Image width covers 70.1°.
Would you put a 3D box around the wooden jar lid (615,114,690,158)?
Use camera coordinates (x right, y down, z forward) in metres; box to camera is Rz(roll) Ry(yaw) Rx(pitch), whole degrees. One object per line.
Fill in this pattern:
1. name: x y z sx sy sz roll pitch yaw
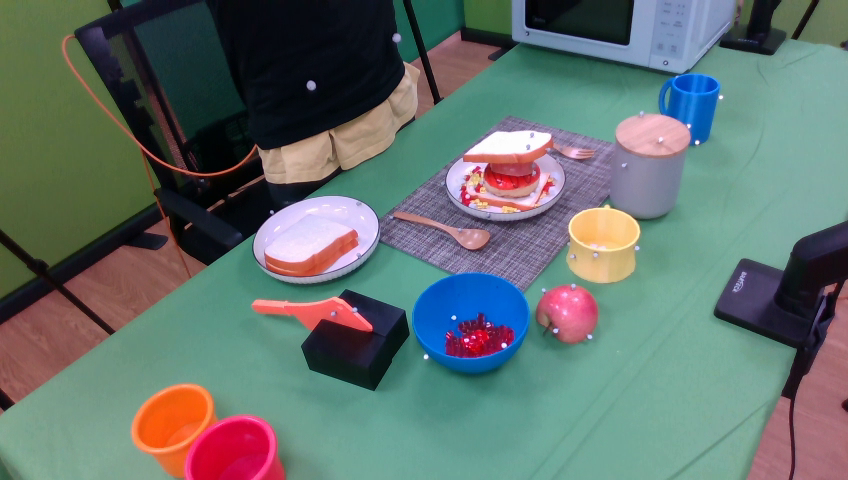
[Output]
1. wooden jar lid: 0.347 -0.155 0.923 0.108 0.021 0.108 -3 44 4

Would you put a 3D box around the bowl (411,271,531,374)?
1. bowl: 0.062 0.119 0.780 0.151 0.077 0.150 -4 40 4

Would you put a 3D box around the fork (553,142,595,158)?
1. fork: 0.225 -0.186 1.151 0.206 0.019 0.028 21 59 27

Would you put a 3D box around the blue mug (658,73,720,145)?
1. blue mug: 0.483 -0.250 1.127 0.082 0.106 0.115 -25 44 -19

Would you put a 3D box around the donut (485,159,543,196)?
1. donut: 0.151 -0.112 1.018 0.099 0.048 0.098 -4 40 4

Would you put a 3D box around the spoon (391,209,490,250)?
1. spoon: 0.023 -0.024 0.989 0.192 0.022 0.041 21 72 28

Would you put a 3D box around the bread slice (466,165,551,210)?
1. bread slice: 0.141 -0.093 1.041 0.133 0.018 0.107 8 42 20

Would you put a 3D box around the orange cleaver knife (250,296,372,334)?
1. orange cleaver knife: -0.159 0.103 0.828 0.210 0.078 0.012 -3 43 39

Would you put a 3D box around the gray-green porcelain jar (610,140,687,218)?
1. gray-green porcelain jar: 0.354 -0.107 0.964 0.106 0.127 0.105 -4 41 4

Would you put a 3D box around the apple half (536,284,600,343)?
1. apple half: 0.196 0.090 0.815 0.075 0.053 0.080 -22 42 -20

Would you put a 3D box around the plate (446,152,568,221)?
1. plate: 0.143 -0.097 1.045 0.207 0.039 0.206 -4 41 4

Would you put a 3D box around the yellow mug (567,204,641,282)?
1. yellow mug: 0.268 -0.005 0.905 0.099 0.064 0.130 7 42 15

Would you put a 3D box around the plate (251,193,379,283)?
1. plate: -0.174 -0.001 0.985 0.209 0.038 0.208 -4 41 4

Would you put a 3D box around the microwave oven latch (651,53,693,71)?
1. microwave oven latch: 0.532 -0.386 1.301 0.078 0.029 0.030 27 52 34

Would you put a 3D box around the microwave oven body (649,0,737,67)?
1. microwave oven body: 0.475 -0.602 1.411 0.438 0.261 0.327 23 50 32

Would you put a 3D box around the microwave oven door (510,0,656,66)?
1. microwave oven door: 0.350 -0.539 1.348 0.353 0.245 0.039 24 50 31

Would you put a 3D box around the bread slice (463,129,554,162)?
1. bread slice: 0.143 -0.154 0.974 0.130 0.019 0.105 9 35 38
